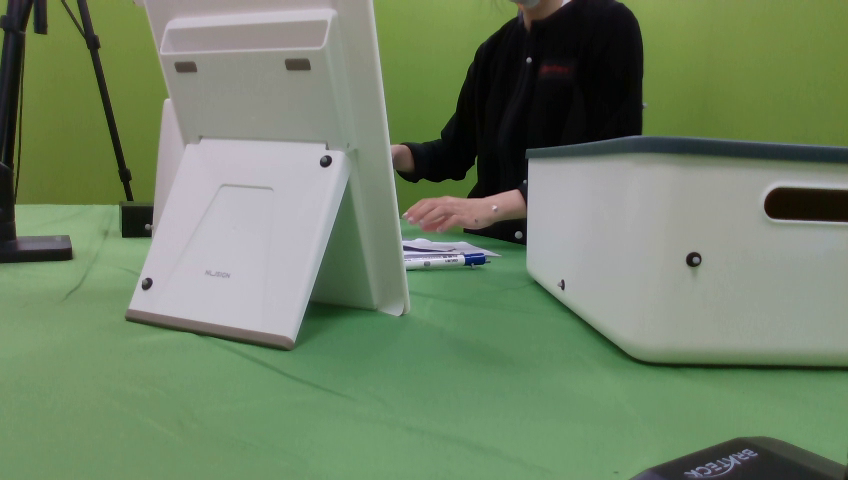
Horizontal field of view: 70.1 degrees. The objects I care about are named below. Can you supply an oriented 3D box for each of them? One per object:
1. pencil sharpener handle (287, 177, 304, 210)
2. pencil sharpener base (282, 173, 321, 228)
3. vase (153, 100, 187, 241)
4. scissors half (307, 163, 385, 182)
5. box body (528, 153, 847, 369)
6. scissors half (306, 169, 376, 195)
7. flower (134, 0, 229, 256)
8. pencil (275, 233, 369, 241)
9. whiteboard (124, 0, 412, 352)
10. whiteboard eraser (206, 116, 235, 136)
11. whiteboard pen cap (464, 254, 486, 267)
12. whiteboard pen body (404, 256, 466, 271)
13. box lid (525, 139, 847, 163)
[{"bbox_3d":[-0.269,-0.096,1.257,0.036,0.067,0.030,-8,8,-27],"label":"pencil sharpener handle"},{"bbox_3d":[-0.247,-0.080,1.212,0.061,0.107,0.076,-2,5,-28],"label":"pencil sharpener base"},{"bbox_3d":[-0.278,-0.066,0.736,0.098,0.200,0.098,2,9,0],"label":"vase"},{"bbox_3d":[-0.136,-0.121,1.077,0.176,0.040,0.013,-5,46,-46],"label":"scissors half"},{"bbox_3d":[0.258,-0.005,0.591,0.254,0.160,0.363,2,7,-4],"label":"box body"},{"bbox_3d":[-0.148,-0.107,1.085,0.176,0.040,0.012,15,36,-56],"label":"scissors half"},{"bbox_3d":[-0.282,-0.146,0.713,0.038,0.362,0.044,-23,24,-31],"label":"flower"},{"bbox_3d":[-0.169,-0.006,1.036,0.195,0.012,0.012,-2,9,-45],"label":"pencil"},{"bbox_3d":[-0.151,-0.049,0.472,0.216,0.305,0.144,6,27,24],"label":"whiteboard"},{"bbox_3d":[-0.450,-0.252,1.335,0.056,0.042,0.112,1,7,-22],"label":"whiteboard eraser"},{"bbox_3d":[0.066,0.027,0.818,0.033,0.018,0.018,-5,10,-25],"label":"whiteboard pen cap"},{"bbox_3d":[0.013,0.030,0.792,0.141,0.017,0.017,-3,9,-24],"label":"whiteboard pen body"},{"bbox_3d":[0.261,-0.078,0.580,0.264,0.015,0.371,2,7,-4],"label":"box lid"}]
